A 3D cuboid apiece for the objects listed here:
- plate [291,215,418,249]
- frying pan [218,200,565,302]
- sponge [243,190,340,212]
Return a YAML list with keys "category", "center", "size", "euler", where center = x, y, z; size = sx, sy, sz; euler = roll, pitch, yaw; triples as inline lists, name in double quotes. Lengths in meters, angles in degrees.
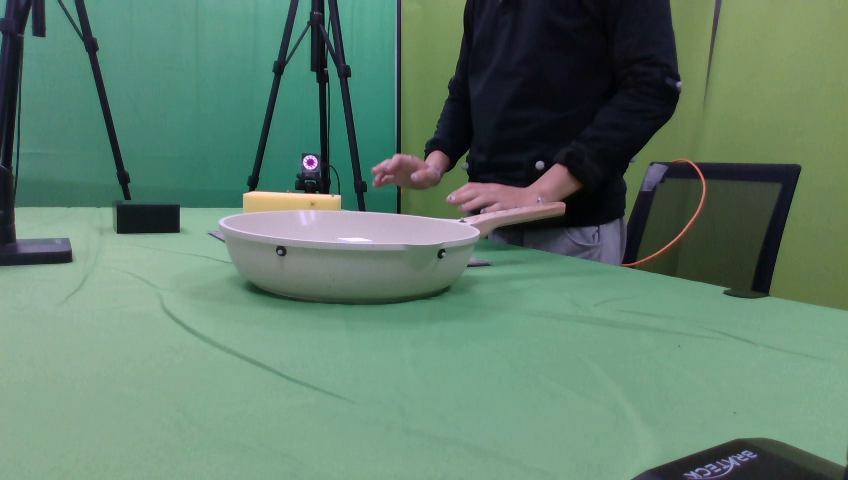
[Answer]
- category: "plate"
  center: [-0.115, -0.013, 1.002]
  size: [0.208, 0.039, 0.207]
  euler: [2, 7, 0]
- category: "frying pan"
  center: [0.003, -0.010, 0.754]
  size: [0.490, 0.102, 0.305]
  euler: [-12, 16, -32]
- category: "sponge"
  center: [-0.298, -0.077, 1.388]
  size: [0.207, 0.061, 0.118]
  euler: [2, 8, -7]
